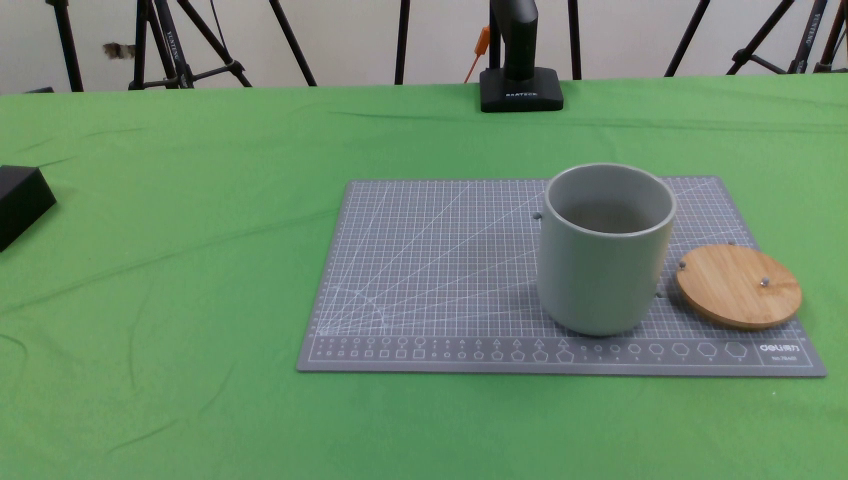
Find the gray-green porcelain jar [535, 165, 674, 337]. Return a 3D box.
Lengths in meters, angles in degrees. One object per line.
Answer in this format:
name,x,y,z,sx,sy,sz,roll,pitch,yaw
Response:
gray-green porcelain jar,0.153,0.014,0.535,0.106,0.127,0.105,-2,40,2

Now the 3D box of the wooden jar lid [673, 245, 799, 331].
wooden jar lid,0.290,0.046,0.570,0.108,0.021,0.107,-2,38,2
